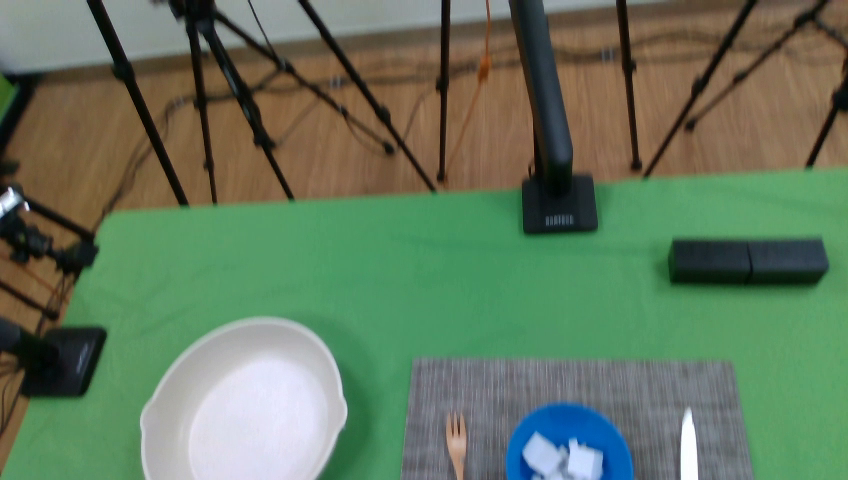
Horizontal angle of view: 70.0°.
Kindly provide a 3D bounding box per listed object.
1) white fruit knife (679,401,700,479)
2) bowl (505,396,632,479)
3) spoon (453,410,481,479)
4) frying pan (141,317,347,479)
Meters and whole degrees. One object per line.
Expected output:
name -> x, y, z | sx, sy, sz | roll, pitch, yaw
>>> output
white fruit knife -> 0.333, 0.299, 0.754 | 0.027, 0.016, 0.206 | 9, 59, 6
bowl -> 0.179, 0.281, 0.760 | 0.151, 0.077, 0.150 | -5, 57, 8
spoon -> 0.053, 0.320, 0.794 | 0.041, 0.022, 0.192 | -11, 52, 23
frying pan -> -0.259, 0.333, 0.805 | 0.306, 0.104, 0.483 | -3, 49, 11
